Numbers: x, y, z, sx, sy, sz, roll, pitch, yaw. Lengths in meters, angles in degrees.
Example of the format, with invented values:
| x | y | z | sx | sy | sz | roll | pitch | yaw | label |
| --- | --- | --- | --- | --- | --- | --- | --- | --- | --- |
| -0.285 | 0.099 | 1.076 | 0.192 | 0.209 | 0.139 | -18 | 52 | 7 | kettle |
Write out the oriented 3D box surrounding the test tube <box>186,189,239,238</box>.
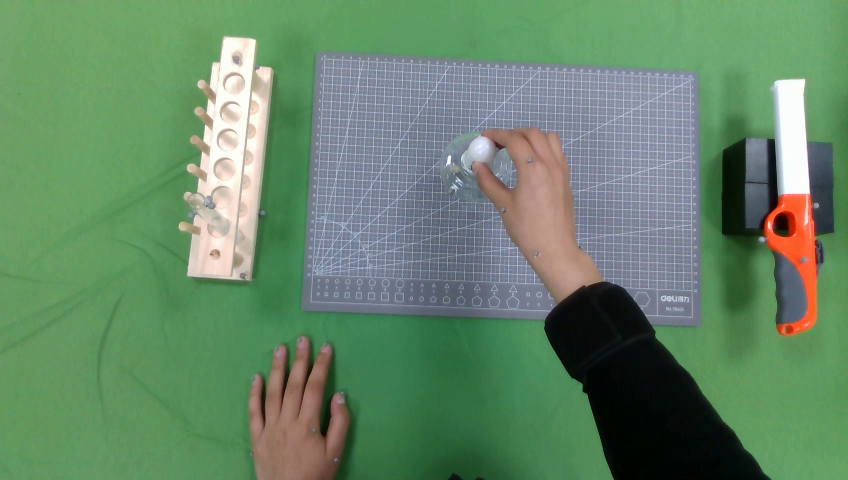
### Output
| x | y | z | sx | sy | sz | roll | pitch | yaw | label |
| --- | --- | --- | --- | --- | --- | --- | --- | --- | --- |
| -0.202 | -0.023 | 0.587 | 0.017 | 0.150 | 0.017 | 1 | 79 | -5 | test tube |

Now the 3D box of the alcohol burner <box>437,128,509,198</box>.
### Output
| x | y | z | sx | sy | sz | roll | pitch | yaw | label |
| --- | --- | --- | --- | --- | --- | --- | --- | --- | --- |
| 0.053 | -0.085 | 0.639 | 0.078 | 0.119 | 0.077 | 0 | 85 | -1 | alcohol burner |

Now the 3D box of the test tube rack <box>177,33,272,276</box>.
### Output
| x | y | z | sx | sy | sz | roll | pitch | yaw | label |
| --- | --- | --- | --- | --- | --- | --- | --- | --- | --- |
| -0.216 | -0.087 | 0.643 | 0.067 | 0.085 | 0.241 | 5 | 84 | -2 | test tube rack |

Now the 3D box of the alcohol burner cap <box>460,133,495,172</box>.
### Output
| x | y | z | sx | sy | sz | roll | pitch | yaw | label |
| --- | --- | --- | --- | --- | --- | --- | --- | --- | --- |
| 0.055 | -0.090 | 0.604 | 0.034 | 0.048 | 0.033 | 1 | 79 | -6 | alcohol burner cap |

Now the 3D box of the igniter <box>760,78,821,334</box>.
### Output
| x | y | z | sx | sy | sz | roll | pitch | yaw | label |
| --- | --- | --- | --- | --- | --- | --- | --- | --- | --- |
| 0.391 | -0.038 | 0.649 | 0.057 | 0.025 | 0.275 | 1 | 83 | 9 | igniter |
